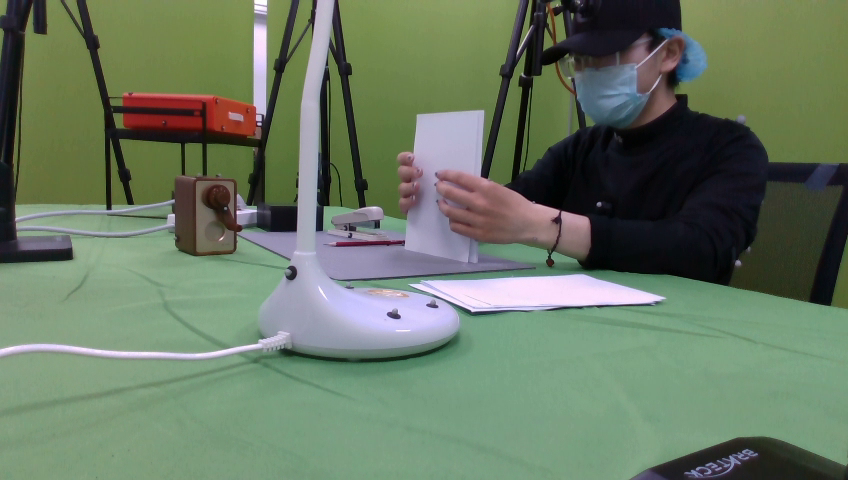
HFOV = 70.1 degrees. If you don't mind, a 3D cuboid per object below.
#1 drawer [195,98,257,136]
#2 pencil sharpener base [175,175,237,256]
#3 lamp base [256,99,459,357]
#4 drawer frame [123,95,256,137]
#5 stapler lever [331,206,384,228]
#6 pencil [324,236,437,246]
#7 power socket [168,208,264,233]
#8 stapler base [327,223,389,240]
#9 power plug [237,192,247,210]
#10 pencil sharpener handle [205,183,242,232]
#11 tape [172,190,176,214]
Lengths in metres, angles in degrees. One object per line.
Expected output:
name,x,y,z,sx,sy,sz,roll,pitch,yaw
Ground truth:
drawer,-0.518,-0.279,1.376,0.211,0.073,0.195,3,8,10
pencil sharpener base,-0.304,-0.035,0.847,0.062,0.107,0.076,-4,10,-42
lamp base,-0.055,-0.013,0.463,0.160,0.180,0.180,6,11,27
drawer frame,-0.524,-0.281,1.376,0.213,0.082,0.202,3,8,8
stapler lever,-0.118,-0.043,1.070,0.117,0.040,0.027,8,8,41
pencil,-0.067,0.003,0.979,0.195,0.012,0.012,-3,9,-25
power socket,-0.381,-0.038,1.129,0.072,0.032,0.227,4,8,17
stapler base,-0.117,-0.018,1.073,0.130,0.024,0.041,7,7,41
power plug,-0.386,-0.071,1.204,0.072,0.052,0.035,7,9,26
pencil sharpener handle,-0.265,-0.043,0.813,0.036,0.068,0.030,-32,28,-35
tape,-0.515,-0.087,1.388,0.117,0.052,0.117,3,7,0
